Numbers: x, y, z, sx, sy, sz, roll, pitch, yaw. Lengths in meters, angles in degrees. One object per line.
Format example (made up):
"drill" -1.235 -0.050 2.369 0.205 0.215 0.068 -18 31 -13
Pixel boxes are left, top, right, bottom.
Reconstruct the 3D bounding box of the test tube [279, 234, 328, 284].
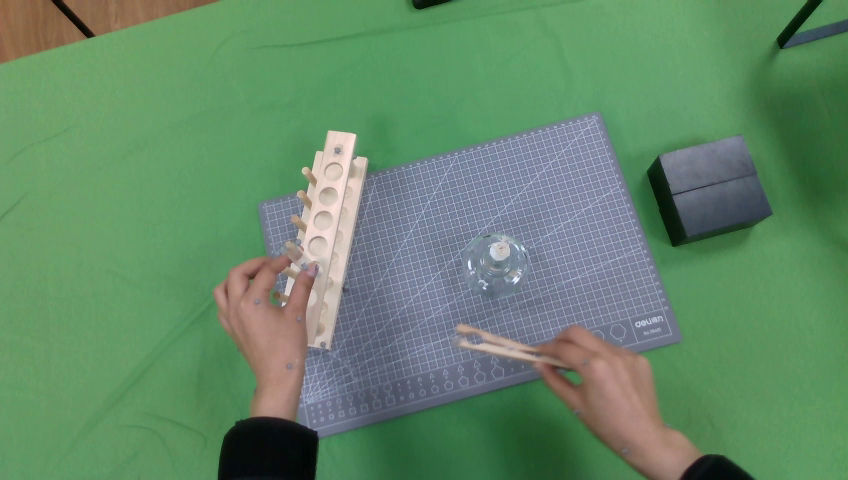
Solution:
"test tube" -0.125 0.024 0.648 0.017 0.151 0.017 -1 73 4

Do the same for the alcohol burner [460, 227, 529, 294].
"alcohol burner" 0.079 0.019 0.673 0.078 0.120 0.077 -1 75 3

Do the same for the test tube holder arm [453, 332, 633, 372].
"test tube holder arm" 0.116 0.113 0.609 0.178 0.015 0.013 9 65 14

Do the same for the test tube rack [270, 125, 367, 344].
"test tube rack" -0.128 -0.007 0.707 0.066 0.085 0.241 9 77 7

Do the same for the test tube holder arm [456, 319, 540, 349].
"test tube holder arm" 0.075 0.100 0.623 0.087 0.015 0.010 15 66 17
